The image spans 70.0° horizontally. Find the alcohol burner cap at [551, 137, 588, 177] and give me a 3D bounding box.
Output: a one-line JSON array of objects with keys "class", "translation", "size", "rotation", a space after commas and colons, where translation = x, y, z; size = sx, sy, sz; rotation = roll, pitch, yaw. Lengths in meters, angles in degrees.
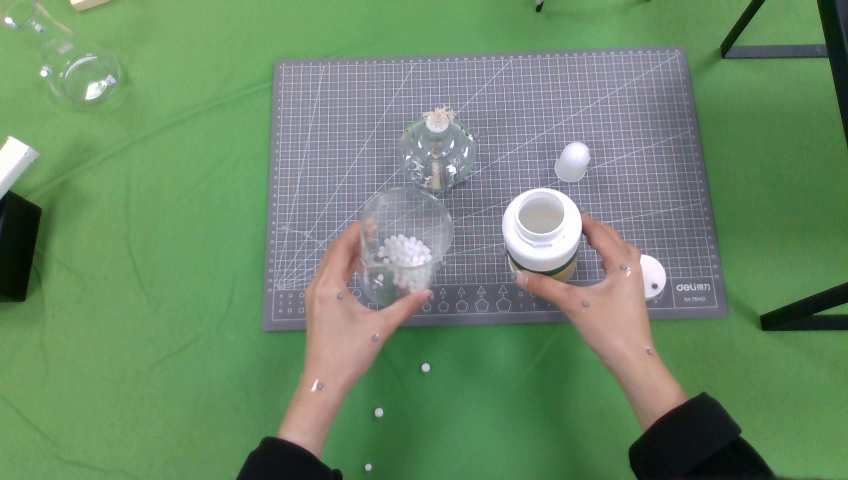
[{"class": "alcohol burner cap", "translation": [0.148, -0.086, 0.609], "size": [0.034, 0.048, 0.033], "rotation": [0, 74, 1]}]

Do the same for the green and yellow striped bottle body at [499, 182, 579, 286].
[{"class": "green and yellow striped bottle body", "translation": [0.097, -0.006, 0.507], "size": [0.063, 0.120, 0.063], "rotation": [-3, 71, 11]}]

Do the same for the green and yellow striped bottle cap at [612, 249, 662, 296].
[{"class": "green and yellow striped bottle cap", "translation": [0.207, 0.031, 0.588], "size": [0.045, 0.020, 0.045], "rotation": [0, 75, 0]}]

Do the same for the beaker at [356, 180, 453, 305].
[{"class": "beaker", "translation": [-0.023, 0.009, 0.514], "size": [0.073, 0.101, 0.084], "rotation": [42, 66, 12]}]

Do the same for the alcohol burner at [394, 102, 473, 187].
[{"class": "alcohol burner", "translation": [0.010, -0.097, 0.577], "size": [0.078, 0.120, 0.077], "rotation": [0, 73, 0]}]

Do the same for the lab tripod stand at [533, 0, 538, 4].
[{"class": "lab tripod stand", "translation": [0.183, -0.324, 0.630], "size": [0.148, 0.132, 0.147], "rotation": [0, 73, 0]}]

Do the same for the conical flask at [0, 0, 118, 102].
[{"class": "conical flask", "translation": [-0.375, -0.200, 0.612], "size": [0.075, 0.122, 0.075], "rotation": [0, 73, 2]}]

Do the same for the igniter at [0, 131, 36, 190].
[{"class": "igniter", "translation": [-0.461, 0.016, 0.553], "size": [0.057, 0.025, 0.276], "rotation": [27, 76, 18]}]

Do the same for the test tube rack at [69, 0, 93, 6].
[{"class": "test tube rack", "translation": [-0.303, -0.353, 0.673], "size": [0.242, 0.085, 0.066], "rotation": [-22, 74, -5]}]
